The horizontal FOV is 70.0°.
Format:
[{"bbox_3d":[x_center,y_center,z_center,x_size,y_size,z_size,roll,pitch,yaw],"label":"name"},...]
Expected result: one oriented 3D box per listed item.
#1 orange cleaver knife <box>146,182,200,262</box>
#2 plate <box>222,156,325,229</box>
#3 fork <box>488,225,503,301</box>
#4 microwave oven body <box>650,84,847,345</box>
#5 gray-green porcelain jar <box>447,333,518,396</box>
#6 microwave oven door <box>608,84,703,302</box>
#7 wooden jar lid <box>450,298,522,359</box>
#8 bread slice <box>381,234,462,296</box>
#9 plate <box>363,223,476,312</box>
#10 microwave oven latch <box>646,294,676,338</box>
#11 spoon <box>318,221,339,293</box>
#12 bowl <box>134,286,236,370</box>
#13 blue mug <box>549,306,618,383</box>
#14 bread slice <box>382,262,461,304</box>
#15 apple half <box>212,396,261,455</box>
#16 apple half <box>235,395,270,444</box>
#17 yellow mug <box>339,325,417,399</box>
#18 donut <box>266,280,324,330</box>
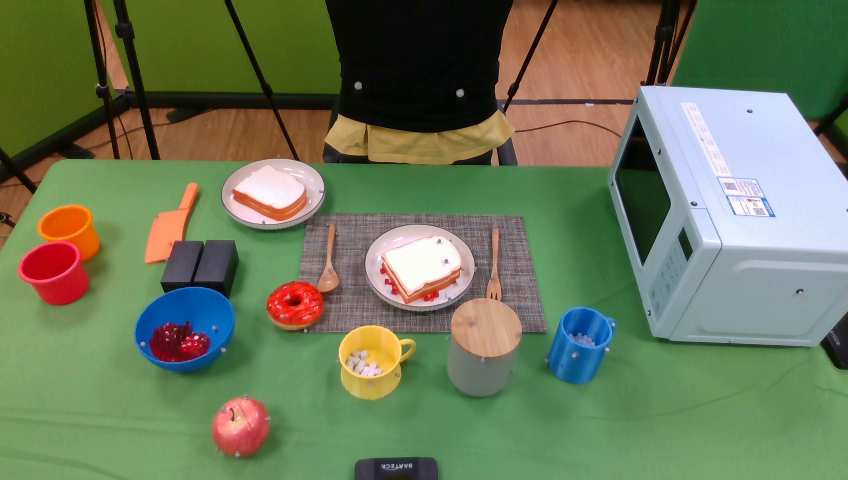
[{"bbox_3d":[-0.494,-0.039,1.199,0.077,0.012,0.210,-4,48,2],"label":"orange cleaver knife"},{"bbox_3d":[-0.308,-0.095,1.251,0.209,0.038,0.208,2,47,-2],"label":"plate"},{"bbox_3d":[0.138,0.042,1.159,0.028,0.019,0.206,0,47,8],"label":"fork"},{"bbox_3d":[0.569,-0.054,1.116,0.326,0.261,0.439,2,46,-1],"label":"microwave oven body"},{"bbox_3d":[0.091,0.178,0.960,0.106,0.127,0.105,2,46,-2],"label":"gray-green porcelain jar"},{"bbox_3d":[0.424,-0.096,1.138,0.039,0.245,0.353,3,46,-1],"label":"microwave oven door"},{"bbox_3d":[0.093,0.135,0.914,0.108,0.021,0.107,3,48,-3],"label":"wooden jar lid"},{"bbox_3d":[0.001,0.039,1.108,0.134,0.018,0.106,-25,56,-22],"label":"bread slice"},{"bbox_3d":[-0.009,0.054,1.126,0.208,0.039,0.206,2,46,-2],"label":"plate"},{"bbox_3d":[0.412,0.132,1.060,0.030,0.029,0.078,4,46,1],"label":"microwave oven latch"},{"bbox_3d":[-0.178,0.028,1.149,0.041,0.022,0.192,-18,46,13],"label":"spoon"},{"bbox_3d":[-0.377,0.155,0.981,0.151,0.077,0.150,2,46,-2],"label":"bowl"},{"bbox_3d":[0.269,0.167,0.997,0.116,0.106,0.082,-19,50,-21],"label":"blue mug"},{"bbox_3d":[0.000,0.056,1.130,0.131,0.019,0.104,-23,51,-20],"label":"bread slice"},{"bbox_3d":[-0.276,0.276,0.877,0.053,0.075,0.080,-29,58,-21],"label":"apple half"},{"bbox_3d":[-0.245,0.260,0.893,0.033,0.082,0.081,-29,55,-22],"label":"apple half"},{"bbox_3d":[-0.072,0.191,0.978,0.131,0.064,0.099,-17,49,-20],"label":"yellow mug"},{"bbox_3d":[-0.223,0.112,1.051,0.099,0.048,0.098,2,46,-2],"label":"donut"}]
